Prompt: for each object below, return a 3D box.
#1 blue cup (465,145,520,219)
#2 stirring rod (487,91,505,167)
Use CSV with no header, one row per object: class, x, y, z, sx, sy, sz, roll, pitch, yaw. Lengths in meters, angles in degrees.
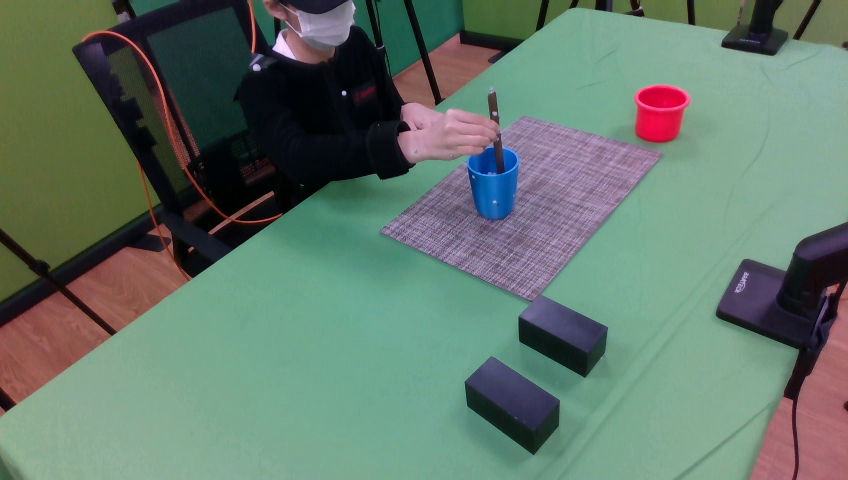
blue cup,0.116,-0.090,0.996,0.092,0.100,0.092,-5,42,5
stirring rod,0.113,-0.150,0.926,0.014,0.177,0.005,-32,45,-17
